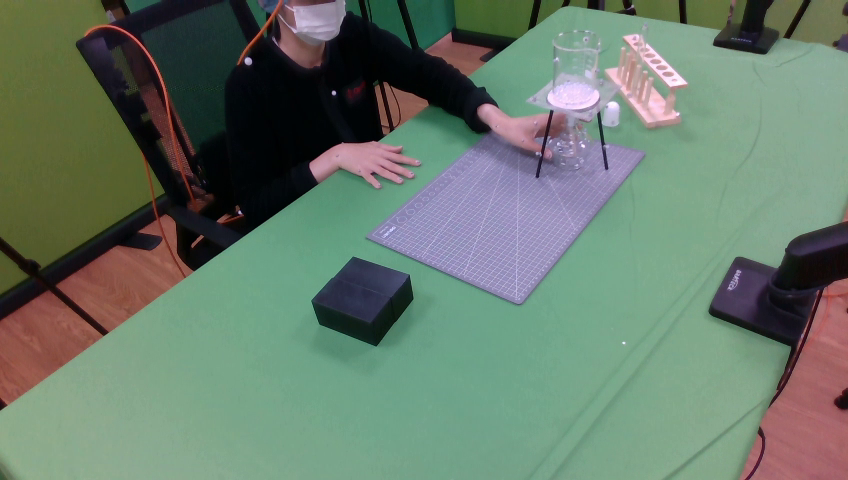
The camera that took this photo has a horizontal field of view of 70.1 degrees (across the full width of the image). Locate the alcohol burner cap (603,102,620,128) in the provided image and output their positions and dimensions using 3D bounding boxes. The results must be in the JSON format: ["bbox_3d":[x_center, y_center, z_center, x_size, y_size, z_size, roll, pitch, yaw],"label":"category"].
[{"bbox_3d":[0.371,-0.249,1.193,0.034,0.048,0.033,-5,41,5],"label":"alcohol burner cap"}]

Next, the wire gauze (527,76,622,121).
[{"bbox_3d":[0.255,-0.247,1.030,0.124,0.011,0.122,23,49,34],"label":"wire gauze"}]

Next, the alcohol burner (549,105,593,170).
[{"bbox_3d":[0.261,-0.186,1.076,0.078,0.119,0.077,-6,41,6],"label":"alcohol burner"}]

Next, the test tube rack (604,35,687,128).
[{"bbox_3d":[0.447,-0.330,1.241,0.067,0.085,0.241,-9,41,-2],"label":"test tube rack"}]

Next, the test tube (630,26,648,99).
[{"bbox_3d":[0.426,-0.350,1.199,0.017,0.151,0.017,-4,42,4],"label":"test tube"}]

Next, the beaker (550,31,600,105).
[{"bbox_3d":[0.250,-0.281,0.996,0.074,0.101,0.083,-37,49,-27],"label":"beaker"}]

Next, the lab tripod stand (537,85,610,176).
[{"bbox_3d":[0.259,-0.192,1.068,0.148,0.132,0.147,-4,43,4],"label":"lab tripod stand"}]
